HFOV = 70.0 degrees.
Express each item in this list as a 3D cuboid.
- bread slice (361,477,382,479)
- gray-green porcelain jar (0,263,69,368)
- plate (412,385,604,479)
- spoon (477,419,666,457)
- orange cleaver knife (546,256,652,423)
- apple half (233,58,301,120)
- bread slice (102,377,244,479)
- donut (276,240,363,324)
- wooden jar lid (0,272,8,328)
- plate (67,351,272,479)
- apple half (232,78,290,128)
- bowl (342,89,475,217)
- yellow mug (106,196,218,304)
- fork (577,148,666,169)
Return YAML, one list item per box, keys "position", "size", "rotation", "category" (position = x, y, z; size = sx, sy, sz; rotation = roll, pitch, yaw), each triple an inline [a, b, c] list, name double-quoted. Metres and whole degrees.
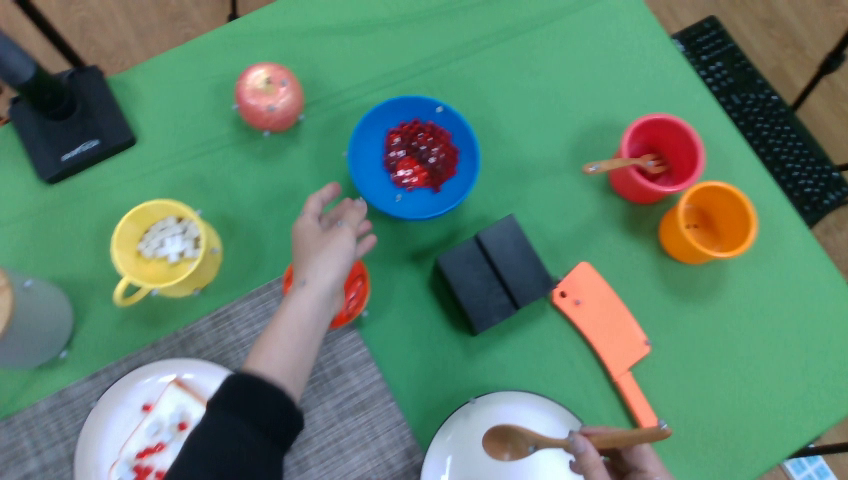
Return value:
- position: [-0.066, 0.312, 0.615]
  size: [0.134, 0.018, 0.106]
  rotation: [-33, 77, -30]
  category: "bread slice"
- position: [-0.446, 0.079, 0.628]
  size: [0.106, 0.127, 0.105]
  rotation: [1, 76, -3]
  category: "gray-green porcelain jar"
- position: [0.090, 0.264, 0.662]
  size: [0.209, 0.038, 0.208]
  rotation: [1, 77, -3]
  category: "plate"
- position: [0.121, 0.173, 0.531]
  size: [0.021, 0.193, 0.042]
  rotation: [-36, 99, -42]
  category: "spoon"
- position: [0.219, 0.118, 0.713]
  size: [0.077, 0.012, 0.210]
  rotation: [-27, 79, -15]
  category: "orange cleaver knife"
- position: [-0.182, -0.186, 0.731]
  size: [0.080, 0.075, 0.053]
  rotation: [26, 71, 7]
  category: "apple half"
- position: [-0.274, 0.229, 0.647]
  size: [0.105, 0.019, 0.131]
  rotation: [34, 75, 4]
  category: "bread slice"
- position: [-0.119, 0.048, 0.692]
  size: [0.099, 0.048, 0.098]
  rotation: [1, 78, -4]
  category: "donut"
- position: [-0.443, 0.063, 0.567]
  size: [0.108, 0.021, 0.108]
  rotation: [1, 76, -2]
  category: "wooden jar lid"
- position: [-0.265, 0.224, 0.646]
  size: [0.208, 0.039, 0.206]
  rotation: [1, 77, -3]
  category: "plate"
- position: [-0.199, -0.153, 0.720]
  size: [0.081, 0.081, 0.032]
  rotation: [27, 72, 4]
  category: "apple half"
- position: [-0.018, -0.091, 0.716]
  size: [0.151, 0.077, 0.150]
  rotation: [1, 78, -3]
  category: "bowl"
- position: [-0.302, 0.019, 0.681]
  size: [0.100, 0.064, 0.130]
  rotation: [37, 78, 5]
  category: "yellow mug"
- position: [0.230, -0.092, 0.695]
  size: [0.208, 0.018, 0.028]
  rotation: [-11, 74, -48]
  category: "fork"
